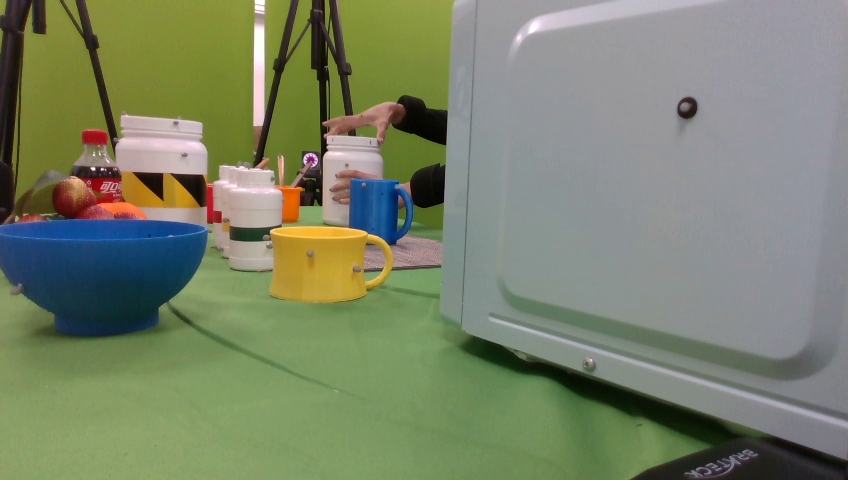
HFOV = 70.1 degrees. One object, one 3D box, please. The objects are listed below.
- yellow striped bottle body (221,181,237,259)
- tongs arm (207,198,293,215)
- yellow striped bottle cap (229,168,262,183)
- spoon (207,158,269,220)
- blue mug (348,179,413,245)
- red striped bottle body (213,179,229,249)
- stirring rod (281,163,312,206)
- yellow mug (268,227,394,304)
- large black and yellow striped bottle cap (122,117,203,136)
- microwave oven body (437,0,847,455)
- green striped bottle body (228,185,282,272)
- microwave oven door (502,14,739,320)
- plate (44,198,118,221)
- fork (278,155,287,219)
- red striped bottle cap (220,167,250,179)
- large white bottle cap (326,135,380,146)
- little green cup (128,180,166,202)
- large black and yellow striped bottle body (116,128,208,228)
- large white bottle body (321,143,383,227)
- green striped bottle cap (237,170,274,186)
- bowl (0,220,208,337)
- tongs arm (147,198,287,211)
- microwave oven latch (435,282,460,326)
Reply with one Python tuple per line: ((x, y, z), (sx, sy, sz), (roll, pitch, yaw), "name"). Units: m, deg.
((-0.244, -0.035, 0.823), (0.063, 0.120, 0.063), (2, 8, 0), "yellow striped bottle body")
((-0.423, -0.084, 1.472), (0.050, 0.026, 0.386), (2, 6, 21), "tongs arm")
((-0.240, -0.087, 0.816), (0.044, 0.018, 0.044), (-3, 5, 1), "yellow striped bottle cap")
((-0.380, -0.108, 1.251), (0.041, 0.022, 0.194), (4, 51, 39), "spoon")
((-0.071, -0.047, 1.002), (0.116, 0.106, 0.082), (7, 9, 26), "blue mug")
((-0.284, -0.048, 0.909), (0.063, 0.119, 0.063), (3, 10, 0), "red striped bottle body")
((-0.292, -0.111, 1.324), (0.014, 0.006, 0.176), (2, 47, 29), "stirring rod")
((-0.094, 0.023, 0.630), (0.131, 0.064, 0.099), (0, 7, -22), "yellow mug")
((-0.399, -0.174, 0.927), (0.115, 0.019, 0.115), (5, 9, -1), "large black and yellow striped bottle cap")
((0.279, -0.040, 0.464), (0.444, 0.260, 0.324), (-3, 8, -41), "microwave oven body")
((-0.208, -0.023, 0.745), (0.063, 0.119, 0.063), (2, 7, 0), "green striped bottle body")
((0.217, -0.065, 0.601), (0.358, 0.243, 0.039), (-4, 10, -41), "microwave oven door")
((-0.617, -0.056, 1.179), (0.209, 0.038, 0.209), (3, 7, 0), "plate")
((-0.318, -0.120, 1.342), (0.028, 0.018, 0.206), (0, 52, -13), "fork")
((-0.281, -0.099, 0.901), (0.044, 0.017, 0.044), (-1, 5, 0), "red striped bottle cap")
((-0.151, -0.211, 1.289), (0.115, 0.018, 0.115), (3, 7, 0), "large white bottle cap")
((-0.485, -0.087, 1.062), (0.061, 0.038, 0.061), (-1, 6, 0), "little green cup")
((-0.404, -0.089, 0.937), (0.131, 0.184, 0.130), (3, 7, 0), "large black and yellow striped bottle body")
((-0.154, -0.125, 1.301), (0.131, 0.184, 0.130), (2, 8, 0), "large white bottle body")
((-0.205, -0.075, 0.737), (0.044, 0.020, 0.044), (1, 6, 0), "green striped bottle cap")
((-0.251, 0.030, 0.479), (0.151, 0.077, 0.151), (2, 7, 0), "bowl")
((-0.504, -0.091, 1.513), (0.028, 0.028, 0.389), (-1, 4, 37), "tongs arm")
((0.044, 0.046, 0.470), (0.079, 0.029, 0.030), (-3, 8, -40), "microwave oven latch")
